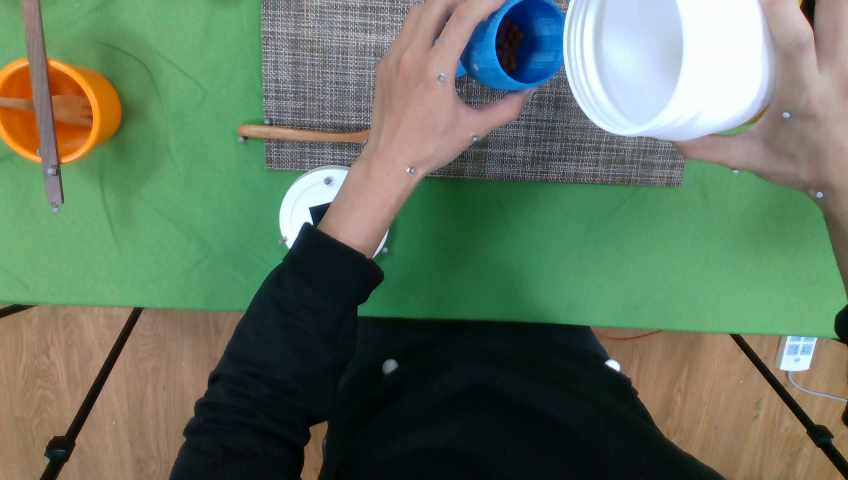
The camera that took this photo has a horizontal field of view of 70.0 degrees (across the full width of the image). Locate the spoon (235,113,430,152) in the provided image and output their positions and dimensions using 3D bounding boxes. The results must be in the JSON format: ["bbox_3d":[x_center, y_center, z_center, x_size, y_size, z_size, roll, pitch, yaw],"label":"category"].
[{"bbox_3d":[-0.092,-0.111,0.608,0.194,0.021,0.042,1,128,-6],"label":"spoon"}]

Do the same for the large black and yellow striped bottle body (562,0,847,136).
[{"bbox_3d":[0.199,-0.144,0.406,0.184,0.129,0.131,-17,109,-22],"label":"large black and yellow striped bottle body"}]

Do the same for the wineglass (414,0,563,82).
[{"bbox_3d":[0.047,-0.171,0.508,0.074,0.171,0.074,-6,108,-17],"label":"wineglass"}]

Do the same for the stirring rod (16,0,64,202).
[{"bbox_3d":[-0.326,-0.119,0.515,0.014,0.006,0.177,1,108,-5],"label":"stirring rod"}]

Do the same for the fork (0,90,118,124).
[{"bbox_3d":[-0.369,-0.124,0.512,0.208,0.018,0.028,-1,121,-51],"label":"fork"}]

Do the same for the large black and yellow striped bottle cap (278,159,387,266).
[{"bbox_3d":[-0.095,-0.028,0.640,0.115,0.018,0.115,-2,111,-5],"label":"large black and yellow striped bottle cap"}]
